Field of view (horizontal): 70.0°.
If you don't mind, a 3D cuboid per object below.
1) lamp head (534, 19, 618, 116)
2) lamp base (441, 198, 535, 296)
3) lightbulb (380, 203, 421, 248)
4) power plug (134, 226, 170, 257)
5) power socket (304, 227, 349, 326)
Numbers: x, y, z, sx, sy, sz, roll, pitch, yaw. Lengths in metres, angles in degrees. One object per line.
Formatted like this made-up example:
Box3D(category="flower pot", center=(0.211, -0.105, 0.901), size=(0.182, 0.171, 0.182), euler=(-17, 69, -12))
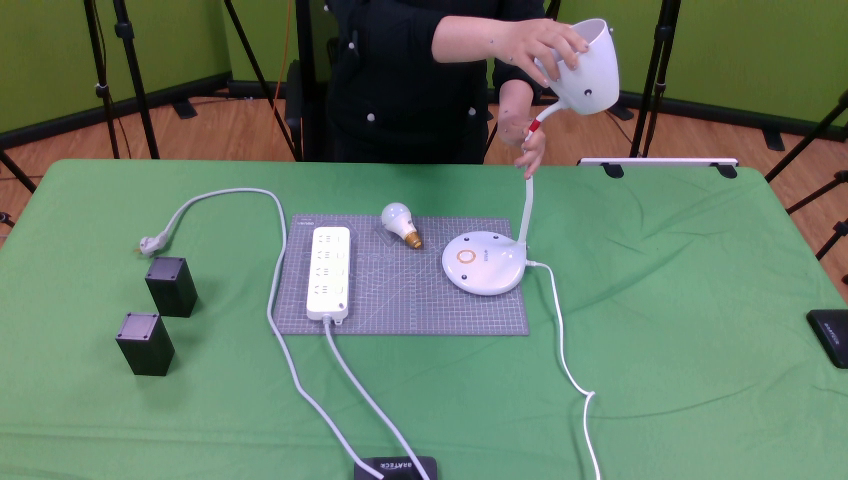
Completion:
Box3D(category="lamp head", center=(0.234, -0.245, 0.903), size=(0.112, 0.123, 0.112), euler=(-22, 32, 15))
Box3D(category="lamp base", center=(0.129, -0.012, 1.105), size=(0.179, 0.181, 0.159), euler=(-1, 46, -9))
Box3D(category="lightbulb", center=(-0.043, -0.026, 1.198), size=(0.059, 0.060, 0.107), euler=(-29, 70, -28))
Box3D(category="power plug", center=(-0.515, 0.005, 1.153), size=(0.052, 0.035, 0.072), euler=(-6, 24, 7))
Box3D(category="power socket", center=(-0.177, 0.059, 1.115), size=(0.072, 0.033, 0.225), euler=(-1, 46, -4))
